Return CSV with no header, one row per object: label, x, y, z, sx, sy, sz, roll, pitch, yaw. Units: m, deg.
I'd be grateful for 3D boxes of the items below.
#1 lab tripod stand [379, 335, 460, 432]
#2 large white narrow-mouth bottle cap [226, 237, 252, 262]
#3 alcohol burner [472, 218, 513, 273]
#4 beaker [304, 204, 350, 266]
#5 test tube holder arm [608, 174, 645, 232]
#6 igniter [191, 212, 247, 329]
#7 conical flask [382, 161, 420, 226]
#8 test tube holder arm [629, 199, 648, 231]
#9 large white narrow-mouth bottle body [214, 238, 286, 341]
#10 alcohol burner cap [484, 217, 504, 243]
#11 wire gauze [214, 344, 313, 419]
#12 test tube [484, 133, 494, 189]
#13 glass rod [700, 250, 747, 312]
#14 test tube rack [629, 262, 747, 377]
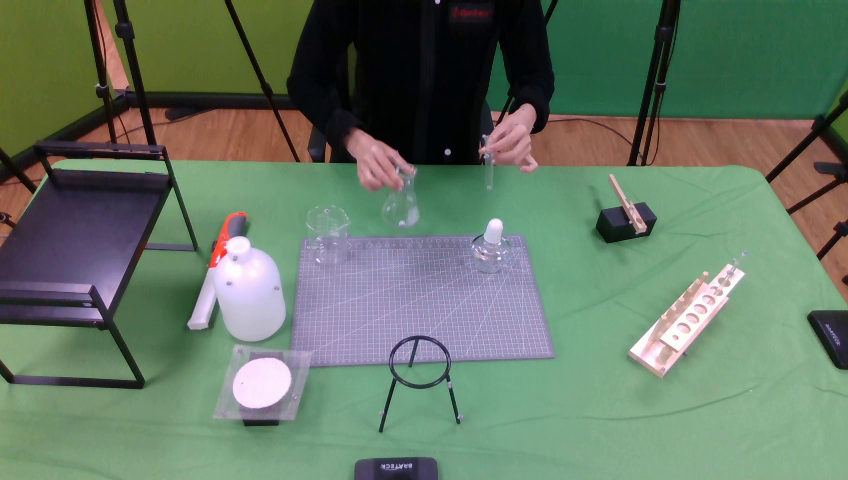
lab tripod stand,-0.010,0.214,0.911,0.148,0.132,0.147,1,45,0
large white narrow-mouth bottle cap,-0.282,0.014,0.923,0.038,0.024,0.037,2,46,-2
alcohol burner,0.128,0.005,1.132,0.078,0.120,0.077,0,47,0
beaker,-0.178,-0.006,1.132,0.084,0.101,0.073,4,46,-1
test tube holder arm,0.411,-0.080,1.238,0.013,0.015,0.177,0,42,-12
igniter,-0.376,0.047,1.121,0.057,0.025,0.275,-4,46,6
conical flask,-0.038,-0.091,1.131,0.075,0.122,0.075,5,48,-5
test tube holder arm,0.423,-0.050,1.206,0.010,0.015,0.087,1,42,-11
large white narrow-mouth bottle body,-0.285,0.073,0.986,0.102,0.195,0.101,2,46,-2
alcohol burner cap,0.130,-0.021,1.106,0.034,0.048,0.033,5,46,-5
wire gauze,-0.241,0.213,0.915,0.121,0.011,0.124,5,46,1
test tube,0.117,-0.137,1.083,0.017,0.151,0.017,-3,60,5
glass rod,0.500,0.075,1.021,0.008,0.201,0.008,0,54,1
test tube rack,0.464,0.126,1.060,0.242,0.085,0.066,-34,56,-30
